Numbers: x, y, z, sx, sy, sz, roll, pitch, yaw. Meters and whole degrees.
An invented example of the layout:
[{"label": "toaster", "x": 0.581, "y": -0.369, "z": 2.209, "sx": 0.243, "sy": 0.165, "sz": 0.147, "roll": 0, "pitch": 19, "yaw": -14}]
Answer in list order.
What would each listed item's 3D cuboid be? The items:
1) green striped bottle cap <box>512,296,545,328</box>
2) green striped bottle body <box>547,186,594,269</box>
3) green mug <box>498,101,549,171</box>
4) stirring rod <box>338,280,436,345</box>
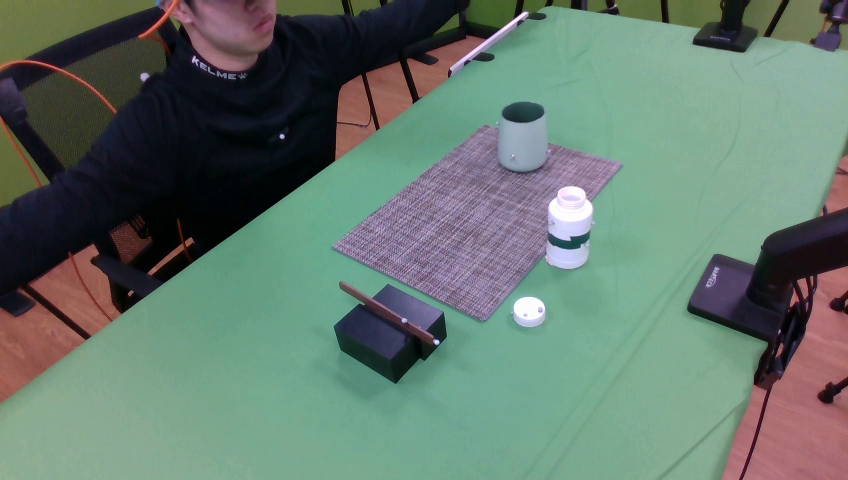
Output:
[{"label": "green striped bottle cap", "x": 0.144, "y": 0.099, "z": 0.837, "sx": 0.044, "sy": 0.020, "sz": 0.044, "roll": -2, "pitch": 45, "yaw": 2}, {"label": "green striped bottle body", "x": 0.214, "y": -0.020, "z": 0.886, "sx": 0.063, "sy": 0.120, "sz": 0.063, "roll": -4, "pitch": 41, "yaw": 4}, {"label": "green mug", "x": 0.182, "y": -0.197, "z": 1.101, "sx": 0.092, "sy": 0.105, "sz": 0.125, "roll": 3, "pitch": 41, "yaw": 13}, {"label": "stirring rod", "x": -0.053, "y": 0.093, "z": 0.795, "sx": 0.174, "sy": 0.014, "sz": 0.006, "roll": 26, "pitch": 46, "yaw": 33}]
